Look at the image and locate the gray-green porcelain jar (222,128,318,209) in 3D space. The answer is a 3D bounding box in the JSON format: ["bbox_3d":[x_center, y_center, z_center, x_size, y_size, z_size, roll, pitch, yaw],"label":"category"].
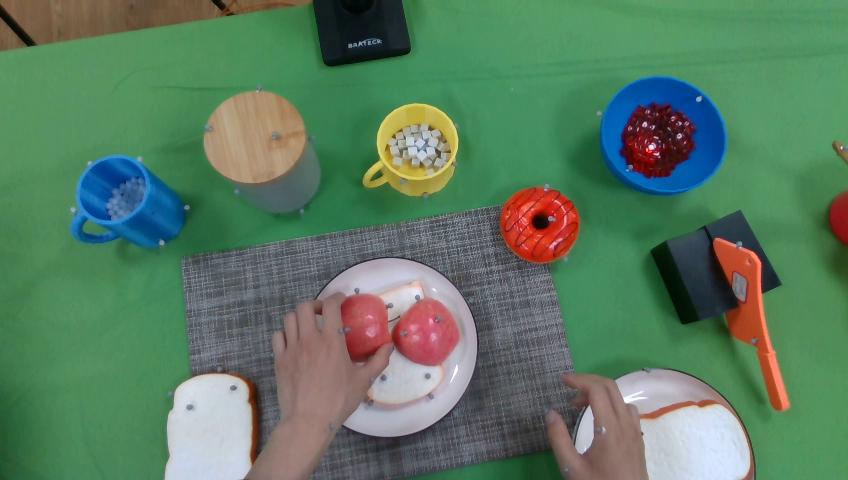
[{"bbox_3d":[-0.185,-0.098,0.720,0.106,0.127,0.105,0,77,-1],"label":"gray-green porcelain jar"}]

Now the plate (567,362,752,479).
[{"bbox_3d":[0.265,0.246,0.695,0.209,0.038,0.208,0,77,-1],"label":"plate"}]

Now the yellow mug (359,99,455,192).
[{"bbox_3d":[-0.025,-0.109,0.756,0.131,0.064,0.099,-33,80,-7],"label":"yellow mug"}]

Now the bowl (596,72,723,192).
[{"bbox_3d":[0.282,-0.123,0.759,0.151,0.077,0.150,0,78,-1],"label":"bowl"}]

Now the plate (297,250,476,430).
[{"bbox_3d":[-0.043,0.116,0.715,0.208,0.039,0.206,0,77,-1],"label":"plate"}]

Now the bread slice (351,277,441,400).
[{"bbox_3d":[-0.036,0.120,0.717,0.107,0.018,0.133,-21,76,-5],"label":"bread slice"}]

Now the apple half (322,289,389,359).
[{"bbox_3d":[-0.078,0.093,0.685,0.075,0.053,0.080,-4,77,-3],"label":"apple half"}]

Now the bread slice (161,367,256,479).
[{"bbox_3d":[-0.248,0.214,0.699,0.105,0.019,0.131,-2,78,-2],"label":"bread slice"}]

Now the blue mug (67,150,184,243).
[{"bbox_3d":[-0.357,-0.039,0.712,0.116,0.106,0.082,-35,79,-8],"label":"blue mug"}]

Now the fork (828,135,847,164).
[{"bbox_3d":[0.518,-0.068,0.715,0.209,0.018,0.028,31,73,-36],"label":"fork"}]

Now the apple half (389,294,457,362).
[{"bbox_3d":[0.002,0.101,0.697,0.081,0.033,0.081,1,75,-2],"label":"apple half"}]

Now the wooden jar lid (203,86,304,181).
[{"bbox_3d":[-0.184,-0.113,0.659,0.108,0.021,0.108,0,75,0],"label":"wooden jar lid"}]

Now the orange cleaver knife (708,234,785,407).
[{"bbox_3d":[0.376,0.093,0.710,0.012,0.077,0.212,-21,100,-12],"label":"orange cleaver knife"}]

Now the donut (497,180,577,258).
[{"bbox_3d":[0.139,-0.026,0.748,0.099,0.048,0.098,0,78,-1],"label":"donut"}]
